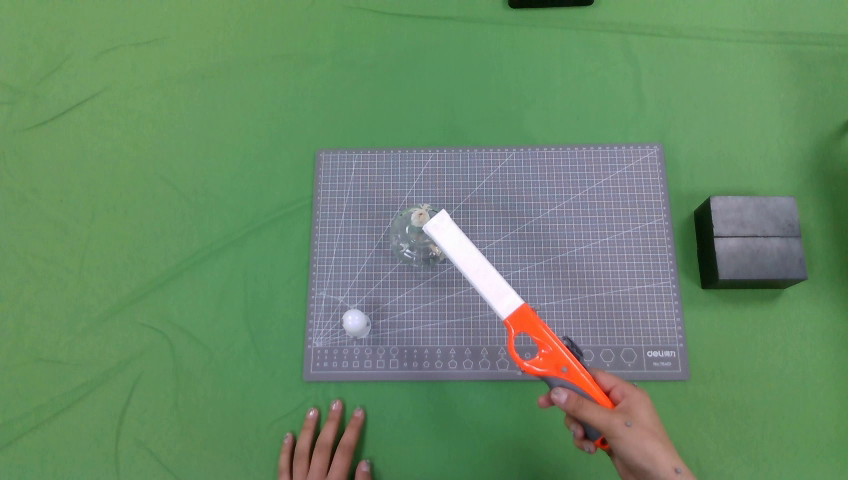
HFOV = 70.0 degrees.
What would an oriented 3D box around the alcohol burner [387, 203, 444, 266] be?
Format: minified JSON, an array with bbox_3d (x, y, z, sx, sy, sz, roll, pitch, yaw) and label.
[{"bbox_3d":[-0.005,-0.012,0.701,0.078,0.120,0.077,0,72,0],"label":"alcohol burner"}]

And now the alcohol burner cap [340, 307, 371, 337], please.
[{"bbox_3d":[-0.082,0.095,0.709,0.034,0.048,0.033,-1,74,5],"label":"alcohol burner cap"}]

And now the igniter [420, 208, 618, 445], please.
[{"bbox_3d":[0.092,0.079,0.595,0.057,0.025,0.275,-40,76,0],"label":"igniter"}]
